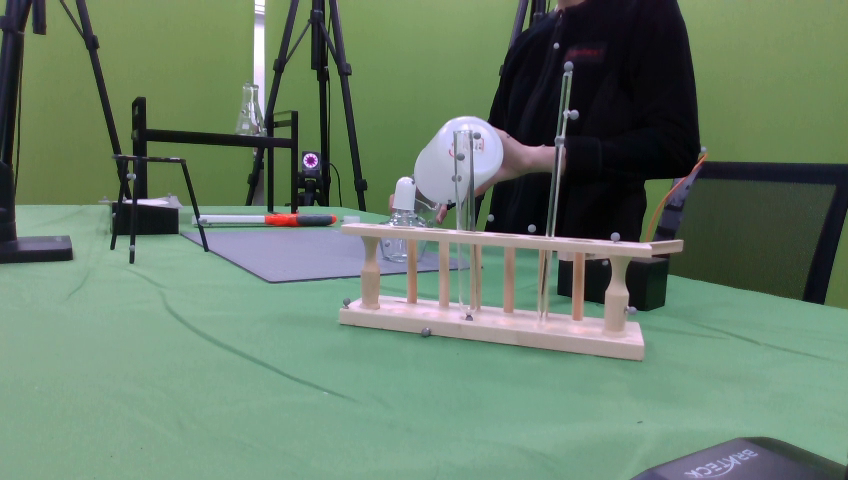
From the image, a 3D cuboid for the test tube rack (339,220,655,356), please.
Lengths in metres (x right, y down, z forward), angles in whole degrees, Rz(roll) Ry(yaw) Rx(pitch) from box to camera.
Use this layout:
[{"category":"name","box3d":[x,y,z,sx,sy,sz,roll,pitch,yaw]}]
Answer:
[{"category":"test tube rack","box3d":[0.056,0.032,0.495,0.242,0.085,0.067,4,7,15]}]

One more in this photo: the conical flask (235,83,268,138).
[{"category":"conical flask","box3d":[-0.402,-0.299,1.406,0.075,0.122,0.075,2,7,0]}]

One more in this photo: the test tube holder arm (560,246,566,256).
[{"category":"test tube holder arm","box3d":[0.173,0.007,0.612,0.088,0.015,0.010,-3,9,-29]}]

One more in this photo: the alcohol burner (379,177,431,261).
[{"category":"alcohol burner","box3d":[-0.027,-0.031,0.838,0.078,0.119,0.078,0,6,0]}]

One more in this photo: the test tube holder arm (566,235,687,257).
[{"category":"test tube holder arm","box3d":[0.215,0.006,0.630,0.179,0.015,0.013,-3,9,-30]}]

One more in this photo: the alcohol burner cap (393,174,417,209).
[{"category":"alcohol burner cap","box3d":[-0.025,-0.067,0.834,0.034,0.048,0.034,8,7,-1]}]

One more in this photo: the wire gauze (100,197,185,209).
[{"category":"wire gauze","box3d":[-0.469,-0.062,1.008,0.126,0.011,0.121,-2,8,-25]}]

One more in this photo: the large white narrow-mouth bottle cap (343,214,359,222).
[{"category":"large white narrow-mouth bottle cap","box3d":[-0.155,-0.043,1.282,0.038,0.024,0.037,2,8,0]}]

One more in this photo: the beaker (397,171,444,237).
[{"category":"beaker","box3d":[-0.005,-0.059,1.057,0.074,0.100,0.083,-6,52,-23]}]

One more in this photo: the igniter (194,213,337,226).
[{"category":"igniter","box3d":[-0.306,-0.041,1.197,0.278,0.025,0.057,-2,-2,-30]}]

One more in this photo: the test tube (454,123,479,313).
[{"category":"test tube","box3d":[0.034,-0.016,0.477,0.017,0.150,0.017,-2,9,1]}]

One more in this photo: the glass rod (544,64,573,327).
[{"category":"glass rod","box3d":[0.101,-0.028,0.453,0.008,0.199,0.008,1,14,0]}]

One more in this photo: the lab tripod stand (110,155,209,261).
[{"category":"lab tripod stand","box3d":[-0.361,-0.046,0.806,0.148,0.131,0.148,2,5,0]}]

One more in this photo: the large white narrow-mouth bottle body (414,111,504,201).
[{"category":"large white narrow-mouth bottle body","box3d":[0.041,-0.115,0.927,0.102,0.101,0.194,-1,-14,-19]}]
